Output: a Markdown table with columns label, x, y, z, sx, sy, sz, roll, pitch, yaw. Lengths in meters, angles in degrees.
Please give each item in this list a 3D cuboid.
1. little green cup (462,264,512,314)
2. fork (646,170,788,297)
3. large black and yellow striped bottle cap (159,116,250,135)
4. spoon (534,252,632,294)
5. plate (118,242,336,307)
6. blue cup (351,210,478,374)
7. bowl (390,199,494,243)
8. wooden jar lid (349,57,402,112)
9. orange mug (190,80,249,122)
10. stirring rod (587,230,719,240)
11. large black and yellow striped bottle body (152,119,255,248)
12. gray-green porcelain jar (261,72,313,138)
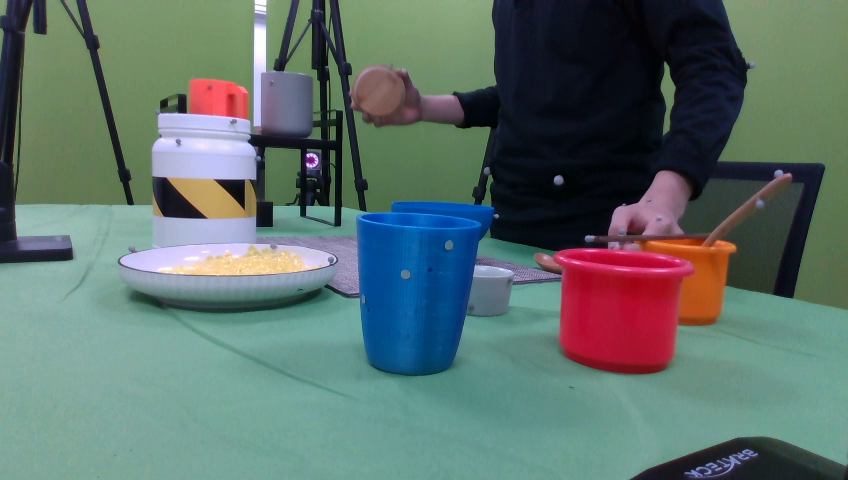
| label | x | y | z | sx | sy | sz | roll | pitch | yaw |
| --- | --- | --- | --- | --- | --- | --- | --- | --- | --- |
| little green cup | 0.053 | 0.047 | 0.580 | 0.061 | 0.038 | 0.061 | 3 | 8 | 0 |
| fork | 0.256 | 0.004 | 0.543 | 0.028 | 0.018 | 0.207 | 3 | -36 | -9 |
| large black and yellow striped bottle cap | -0.292 | -0.153 | 0.810 | 0.115 | 0.019 | 0.115 | 3 | 8 | 0 |
| spoon | 0.194 | 0.038 | 0.753 | 0.042 | 0.021 | 0.193 | 13 | 3 | -20 |
| plate | -0.194 | 0.033 | 0.615 | 0.209 | 0.038 | 0.209 | 2 | 7 | 0 |
| blue cup | -0.009 | 0.034 | 0.414 | 0.093 | 0.100 | 0.092 | 4 | 8 | 0 |
| bowl | 0.024 | -0.015 | 0.872 | 0.151 | 0.077 | 0.151 | 3 | 7 | 0 |
| wooden jar lid | -0.097 | -0.310 | 1.211 | 0.108 | 0.108 | 0.020 | 1 | 18 | -6 |
| orange mug | -0.393 | -0.257 | 1.173 | 0.126 | 0.100 | 0.084 | 1 | 6 | 25 |
| stirring rod | 0.226 | -0.006 | 0.587 | 0.177 | 0.006 | 0.014 | -2 | 10 | -29 |
| large black and yellow striped bottle body | -0.296 | -0.070 | 0.819 | 0.131 | 0.184 | 0.130 | 2 | 7 | 0 |
| gray-green porcelain jar | -0.284 | -0.276 | 1.253 | 0.106 | 0.126 | 0.106 | 2 | 8 | 0 |
